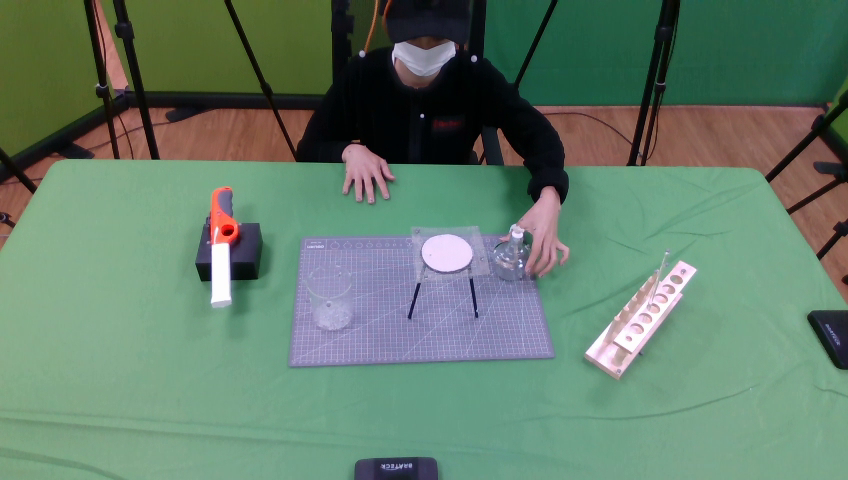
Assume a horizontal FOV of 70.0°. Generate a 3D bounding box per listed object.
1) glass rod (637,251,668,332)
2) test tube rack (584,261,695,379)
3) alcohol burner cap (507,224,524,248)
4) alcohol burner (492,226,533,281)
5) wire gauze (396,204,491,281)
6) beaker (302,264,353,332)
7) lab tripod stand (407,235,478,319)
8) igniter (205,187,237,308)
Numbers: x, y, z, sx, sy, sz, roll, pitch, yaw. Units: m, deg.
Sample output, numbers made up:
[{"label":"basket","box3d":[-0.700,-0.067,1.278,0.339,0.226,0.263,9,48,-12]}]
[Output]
[{"label":"glass rod","box3d":[0.378,0.090,1.005,0.008,0.201,0.008,-1,44,1]},{"label":"test tube rack","box3d":[0.380,0.127,1.062,0.066,0.085,0.242,34,53,26]},{"label":"alcohol burner cap","box3d":[0.184,-0.010,1.206,0.034,0.048,0.033,0,45,0]},{"label":"alcohol burner","box3d":[0.167,0.020,1.125,0.078,0.120,0.077,1,46,-1]},{"label":"wire gauze","box3d":[0.032,0.004,0.999,0.125,0.011,0.120,-22,54,-14]},{"label":"beaker","box3d":[-0.162,0.101,1.030,0.084,0.101,0.073,4,46,0]},{"label":"lab tripod stand","box3d":[0.032,0.065,1.057,0.148,0.132,0.147,1,45,-1]},{"label":"igniter","box3d":[-0.367,0.004,1.097,0.057,0.025,0.274,-7,50,-11]}]
